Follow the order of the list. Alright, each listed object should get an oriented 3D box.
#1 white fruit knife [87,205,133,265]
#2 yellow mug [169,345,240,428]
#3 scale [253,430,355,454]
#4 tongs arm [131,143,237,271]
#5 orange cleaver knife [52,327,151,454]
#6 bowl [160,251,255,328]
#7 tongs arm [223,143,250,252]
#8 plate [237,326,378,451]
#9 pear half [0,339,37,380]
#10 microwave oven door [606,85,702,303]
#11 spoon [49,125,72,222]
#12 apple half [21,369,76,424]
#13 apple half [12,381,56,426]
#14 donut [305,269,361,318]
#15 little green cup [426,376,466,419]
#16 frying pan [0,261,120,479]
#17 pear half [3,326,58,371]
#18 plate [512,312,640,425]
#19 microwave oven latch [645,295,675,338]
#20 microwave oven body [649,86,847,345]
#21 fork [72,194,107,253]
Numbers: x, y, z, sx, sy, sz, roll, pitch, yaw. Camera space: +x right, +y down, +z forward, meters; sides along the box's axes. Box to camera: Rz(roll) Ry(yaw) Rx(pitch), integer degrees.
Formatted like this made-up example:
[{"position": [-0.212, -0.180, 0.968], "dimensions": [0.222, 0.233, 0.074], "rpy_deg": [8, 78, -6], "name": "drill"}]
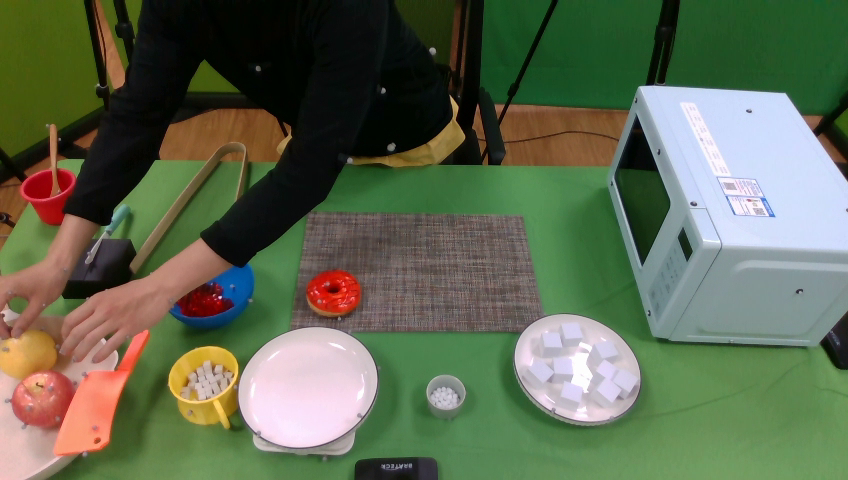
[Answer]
[{"position": [-0.584, -0.013, 1.129], "dimensions": [0.016, 0.027, 0.206], "rpy_deg": [0, 31, -5], "name": "white fruit knife"}, {"position": [-0.323, 0.230, 0.922], "dimensions": [0.100, 0.064, 0.130], "rpy_deg": [-24, 53, -25], "name": "yellow mug"}, {"position": [-0.175, 0.236, 0.951], "dimensions": [0.149, 0.032, 0.199], "rpy_deg": [4, 45, 0], "name": "scale"}, {"position": [-0.481, -0.081, 1.233], "dimensions": [0.028, 0.028, 0.385], "rpy_deg": [8, 45, 12], "name": "tongs arm"}, {"position": [-0.462, 0.212, 0.879], "dimensions": [0.077, 0.012, 0.210], "rpy_deg": [7, 45, -2], "name": "orange cleaver knife"}, {"position": [-0.362, 0.098, 1.040], "dimensions": [0.151, 0.077, 0.150], "rpy_deg": [2, 45, -2], "name": "bowl"}, {"position": [-0.396, -0.074, 1.232], "dimensions": [0.051, 0.026, 0.382], "rpy_deg": [0, 45, -1], "name": "tongs arm"}, {"position": [-0.174, 0.224, 0.917], "dimensions": [0.209, 0.038, 0.208], "rpy_deg": [2, 46, -2], "name": "plate"}, {"position": [-0.623, 0.187, 0.919], "dimensions": [0.070, 0.088, 0.031], "rpy_deg": [20, 46, 10], "name": "pear half"}, {"position": [0.422, -0.094, 1.140], "dimensions": [0.039, 0.245, 0.353], "rpy_deg": [2, 46, -1], "name": "microwave oven door"}, {"position": [-0.718, -0.131, 1.189], "dimensions": [0.041, 0.021, 0.193], "rpy_deg": [-3, 91, -6], "name": "spoon"}, {"position": [-0.546, 0.227, 0.898], "dimensions": [0.080, 0.075, 0.053], "rpy_deg": [28, 48, 27], "name": "apple half"}, {"position": [-0.570, 0.246, 0.875], "dimensions": [0.081, 0.081, 0.033], "rpy_deg": [32, 49, 25], "name": "apple half"}, {"position": [-0.160, 0.094, 1.075], "dimensions": [0.099, 0.048, 0.098], "rpy_deg": [4, 45, -3], "name": "donut"}, {"position": [0.033, 0.248, 0.950], "dimensions": [0.061, 0.039, 0.061], "rpy_deg": [2, 46, -2], "name": "little green cup"}, {"position": [-0.647, 0.164, 0.936], "dimensions": [0.307, 0.103, 0.485], "rpy_deg": [-19, 58, -22], "name": "frying pan"}, {"position": [-0.608, 0.158, 0.935], "dimensions": [0.076, 0.110, 0.056], "rpy_deg": [21, 49, 10], "name": "pear half"}, {"position": [0.246, 0.213, 0.999], "dimensions": [0.208, 0.039, 0.206], "rpy_deg": [2, 46, -2], "name": "plate"}, {"position": [0.411, 0.134, 1.061], "dimensions": [0.030, 0.029, 0.078], "rpy_deg": [3, 45, 0], "name": "microwave oven latch"}, {"position": [0.567, -0.053, 1.118], "dimensions": [0.326, 0.261, 0.439], "rpy_deg": [2, 45, -1], "name": "microwave oven body"}, {"position": [-0.634, -0.036, 1.158], "dimensions": [0.028, 0.019, 0.206], "rpy_deg": [-7, 32, -9], "name": "fork"}]
